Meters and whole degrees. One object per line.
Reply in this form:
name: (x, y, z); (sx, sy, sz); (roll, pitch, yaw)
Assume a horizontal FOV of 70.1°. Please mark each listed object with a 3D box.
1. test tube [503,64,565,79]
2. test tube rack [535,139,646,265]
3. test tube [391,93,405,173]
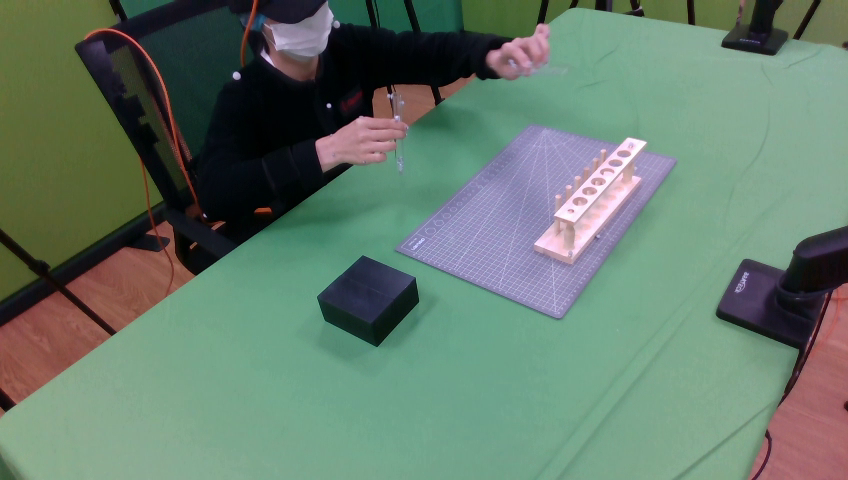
test tube: (0.183, -0.275, 0.990); (0.152, 0.017, 0.017); (-9, 32, -41)
test tube rack: (0.269, -0.071, 0.964); (0.066, 0.085, 0.243); (23, 49, 32)
test tube: (-0.043, -0.175, 1.005); (0.017, 0.151, 0.017); (-1, 42, 1)
